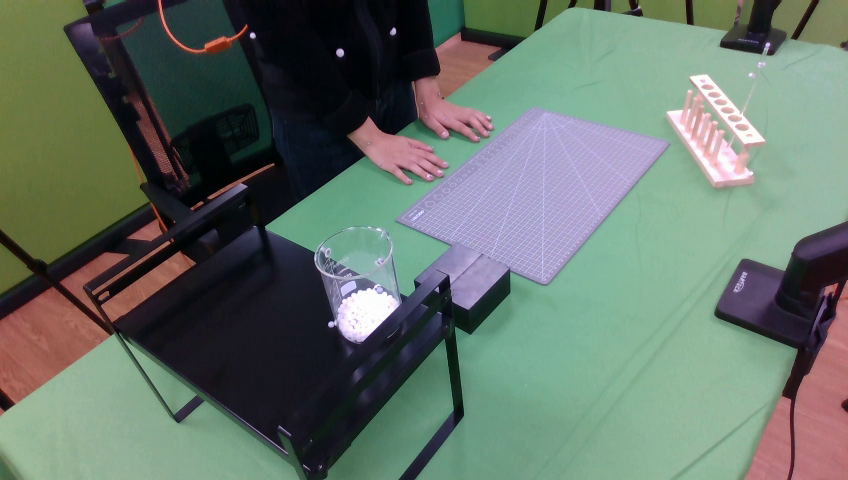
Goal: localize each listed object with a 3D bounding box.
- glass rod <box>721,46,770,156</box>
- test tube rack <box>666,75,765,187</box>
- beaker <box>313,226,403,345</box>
[{"bbox_3d":[0.533,-0.226,1.006,0.008,0.200,0.008,1,41,-1],"label":"glass rod"},{"bbox_3d":[0.512,-0.201,1.082,0.067,0.085,0.241,-6,41,2],"label":"test tube rack"},{"bbox_3d":[-0.059,0.046,0.594,0.073,0.101,0.084,23,49,30],"label":"beaker"}]
